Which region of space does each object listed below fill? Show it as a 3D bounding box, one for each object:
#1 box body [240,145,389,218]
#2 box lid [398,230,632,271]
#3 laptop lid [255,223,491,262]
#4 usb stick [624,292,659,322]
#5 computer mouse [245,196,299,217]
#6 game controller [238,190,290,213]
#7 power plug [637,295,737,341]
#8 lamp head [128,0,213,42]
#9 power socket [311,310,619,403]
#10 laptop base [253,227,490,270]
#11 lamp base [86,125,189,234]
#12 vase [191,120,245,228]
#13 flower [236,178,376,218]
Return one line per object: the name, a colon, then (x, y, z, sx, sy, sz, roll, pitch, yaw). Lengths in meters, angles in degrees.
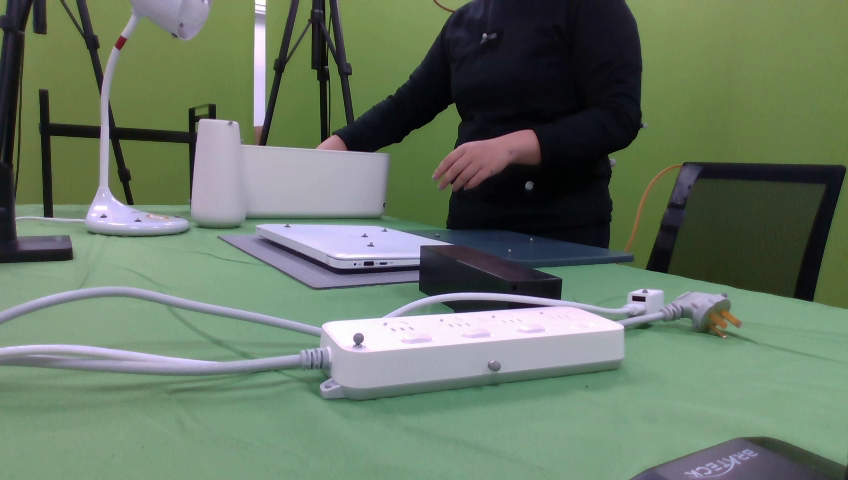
box body: (-0.297, -0.143, 1.474, 0.366, 0.160, 0.253, -1, 9, -30)
box lid: (0.140, 0.012, 1.045, 0.265, 0.015, 0.369, -1, 9, -32)
laptop lid: (-0.093, 0.000, 0.911, 0.243, 0.013, 0.355, 1, 8, -30)
usb stick: (0.211, 0.064, 0.580, 0.021, 0.027, 0.059, -2, -4, 36)
computer mouse: (-0.345, -0.077, 1.371, 0.118, 0.041, 0.062, -12, 17, -32)
game controller: (-0.391, -0.094, 1.465, 0.097, 0.051, 0.154, -3, 8, -29)
power plug: (0.235, 0.077, 0.536, 0.072, 0.035, 0.052, -34, 40, -5)
lamp head: (-0.423, -0.394, 0.980, 0.123, 0.112, 0.112, 20, 7, -3)
power socket: (0.034, 0.074, 0.415, 0.228, 0.032, 0.072, -1, 7, -24)
laptop base: (-0.096, 0.012, 0.911, 0.237, 0.023, 0.352, 3, 6, -32)
lamp base: (-0.497, -0.105, 1.027, 0.179, 0.180, 0.160, 1, 7, 2)
vase: (-0.389, -0.124, 1.142, 0.098, 0.200, 0.098, 3, 9, 0)
flower: (-0.261, -0.086, 1.414, 0.364, 0.044, 0.038, 12, 42, -39)
